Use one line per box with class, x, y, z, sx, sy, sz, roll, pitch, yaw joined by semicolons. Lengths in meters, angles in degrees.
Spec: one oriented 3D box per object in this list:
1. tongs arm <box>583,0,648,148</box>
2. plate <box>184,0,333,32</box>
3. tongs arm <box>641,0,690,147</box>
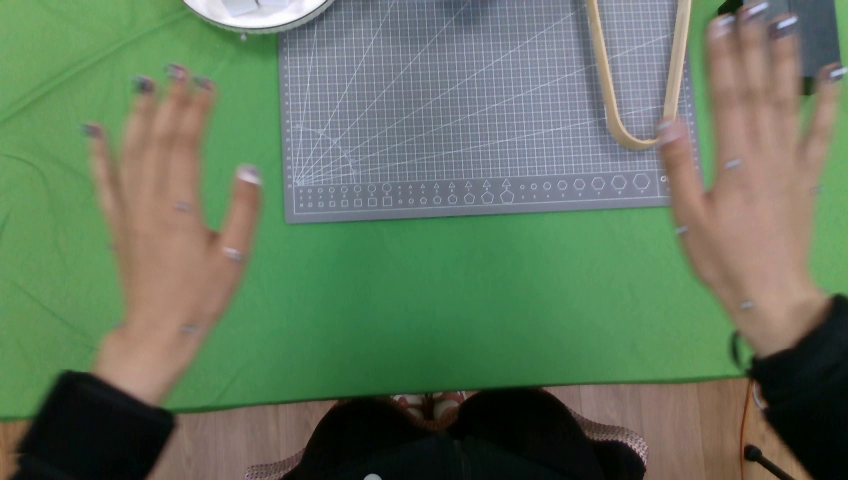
tongs arm;0.193;-0.290;0.664;0.051;0.026;0.383;-5;84;-7
plate;-0.174;-0.317;0.648;0.208;0.039;0.207;0;83;-1
tongs arm;0.280;-0.289;0.670;0.028;0.028;0.386;11;83;-8
